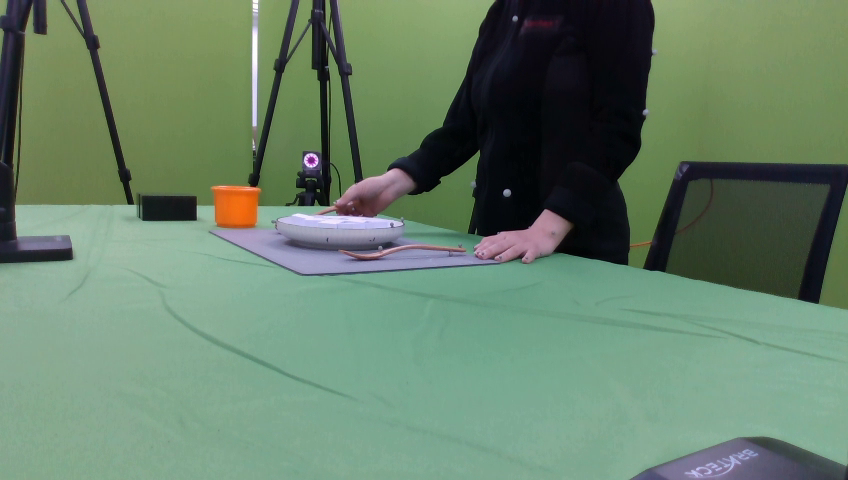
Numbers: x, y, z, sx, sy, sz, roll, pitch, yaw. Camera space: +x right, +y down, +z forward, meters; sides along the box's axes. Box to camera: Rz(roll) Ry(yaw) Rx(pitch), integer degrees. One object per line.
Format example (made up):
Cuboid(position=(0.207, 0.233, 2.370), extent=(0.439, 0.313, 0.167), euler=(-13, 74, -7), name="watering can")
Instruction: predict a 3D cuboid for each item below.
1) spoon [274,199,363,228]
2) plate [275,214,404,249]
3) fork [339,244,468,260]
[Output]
Cuboid(position=(-0.190, -0.048, 1.126), extent=(0.194, 0.021, 0.041), euler=(-24, 46, -35), name="spoon")
Cuboid(position=(-0.135, -0.013, 0.982), extent=(0.208, 0.039, 0.207), euler=(3, 7, 0), name="plate")
Cuboid(position=(-0.024, 0.016, 0.865), extent=(0.208, 0.018, 0.028), euler=(-4, 4, -31), name="fork")
